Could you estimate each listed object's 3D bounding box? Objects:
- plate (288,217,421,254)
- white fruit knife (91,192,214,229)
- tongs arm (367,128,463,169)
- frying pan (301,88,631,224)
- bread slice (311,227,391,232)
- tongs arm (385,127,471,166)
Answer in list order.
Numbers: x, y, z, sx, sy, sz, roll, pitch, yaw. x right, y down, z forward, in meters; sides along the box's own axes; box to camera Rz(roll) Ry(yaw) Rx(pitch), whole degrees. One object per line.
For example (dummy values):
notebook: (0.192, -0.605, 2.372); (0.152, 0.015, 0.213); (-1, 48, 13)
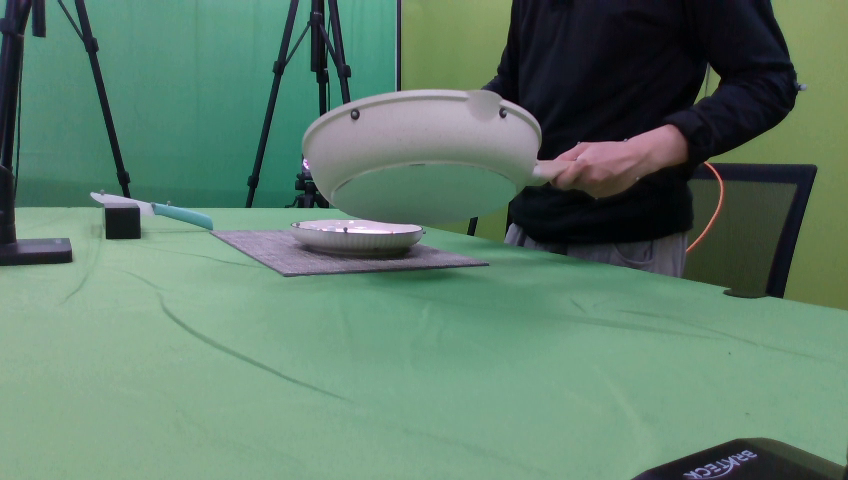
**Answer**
plate: (-0.109, -0.008, 0.956); (0.208, 0.039, 0.207); (2, 8, 0)
white fruit knife: (-0.478, -0.055, 1.077); (0.208, 0.027, 0.016); (14, -2, -30)
tongs arm: (-0.002, -0.165, 1.053); (0.050, 0.026, 0.385); (-7, 12, 20)
frying pan: (0.090, -0.094, 0.787); (0.490, 0.102, 0.305); (-5, -12, -28)
bread slice: (-0.115, -0.005, 0.950); (0.134, 0.018, 0.107); (3, 6, -7)
tongs arm: (0.018, -0.167, 1.044); (0.028, 0.028, 0.388); (-10, 10, 25)
